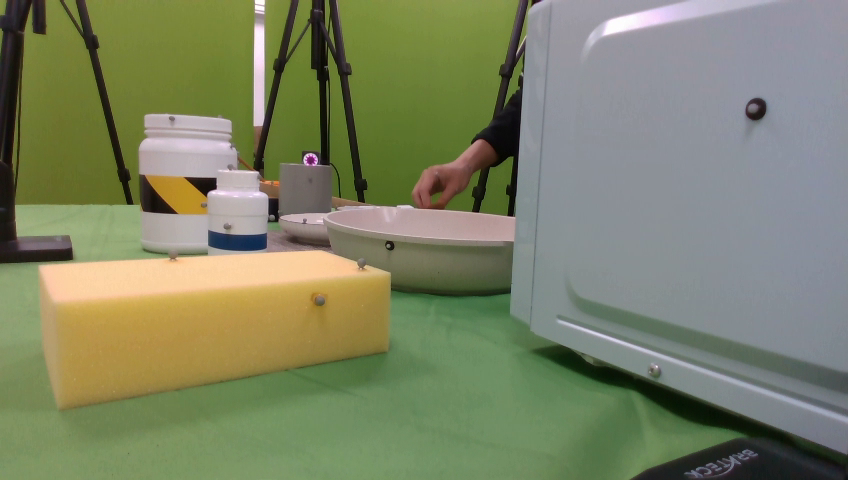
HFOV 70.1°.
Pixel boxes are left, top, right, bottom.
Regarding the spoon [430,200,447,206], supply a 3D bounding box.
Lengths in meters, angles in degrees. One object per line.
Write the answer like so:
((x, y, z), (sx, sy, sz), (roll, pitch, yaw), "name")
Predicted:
((0.021, -0.058, 1.095), (0.041, 0.021, 0.193), (-31, 2, 2), "spoon")

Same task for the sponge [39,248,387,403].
((-0.142, 0.047, 0.420), (0.208, 0.061, 0.117), (-3, 8, -37), "sponge")

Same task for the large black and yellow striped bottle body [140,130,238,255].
((-0.336, -0.078, 0.871), (0.131, 0.184, 0.130), (2, 8, 0), "large black and yellow striped bottle body")

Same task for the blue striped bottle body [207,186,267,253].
((-0.204, -0.016, 0.663), (0.063, 0.120, 0.063), (2, 7, 0), "blue striped bottle body")

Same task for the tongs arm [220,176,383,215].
((-0.284, -0.105, 1.445), (0.389, 0.027, 0.028), (9, -3, -23), "tongs arm")

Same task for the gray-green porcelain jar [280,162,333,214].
((-0.238, -0.092, 1.221), (0.106, 0.126, 0.106), (2, 7, 0), "gray-green porcelain jar")

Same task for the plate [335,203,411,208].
((-0.089, -0.053, 1.309), (0.208, 0.039, 0.207), (2, 8, 0), "plate")

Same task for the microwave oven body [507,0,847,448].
((0.331, -0.042, 0.425), (0.444, 0.260, 0.324), (-2, 8, -31), "microwave oven body")

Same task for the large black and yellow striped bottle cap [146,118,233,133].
((-0.333, -0.163, 0.861), (0.115, 0.019, 0.115), (1, 9, 0), "large black and yellow striped bottle cap")

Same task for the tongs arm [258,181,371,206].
((-0.241, -0.095, 1.373), (0.387, 0.026, 0.050), (9, 0, -37), "tongs arm")

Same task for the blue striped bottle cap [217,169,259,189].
((-0.202, -0.067, 0.656), (0.044, 0.020, 0.044), (0, 10, 0), "blue striped bottle cap")

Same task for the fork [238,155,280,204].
((-0.396, -0.143, 1.486), (0.028, 0.018, 0.208), (20, -26, 45), "fork")

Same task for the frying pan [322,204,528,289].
((0.109, -0.018, 0.800), (0.490, 0.102, 0.305), (-12, 16, -30), "frying pan")

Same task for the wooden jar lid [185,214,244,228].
((-0.404, -0.037, 1.169), (0.108, 0.020, 0.108), (3, 7, 0), "wooden jar lid")

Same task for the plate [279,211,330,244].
((-0.139, -0.022, 1.021), (0.209, 0.038, 0.209), (2, 8, 0), "plate")

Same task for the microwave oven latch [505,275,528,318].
((0.100, 0.041, 0.472), (0.079, 0.029, 0.030), (-2, 8, -30), "microwave oven latch")

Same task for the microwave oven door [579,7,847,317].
((0.294, -0.067, 0.570), (0.358, 0.243, 0.039), (-3, 9, -31), "microwave oven door")
